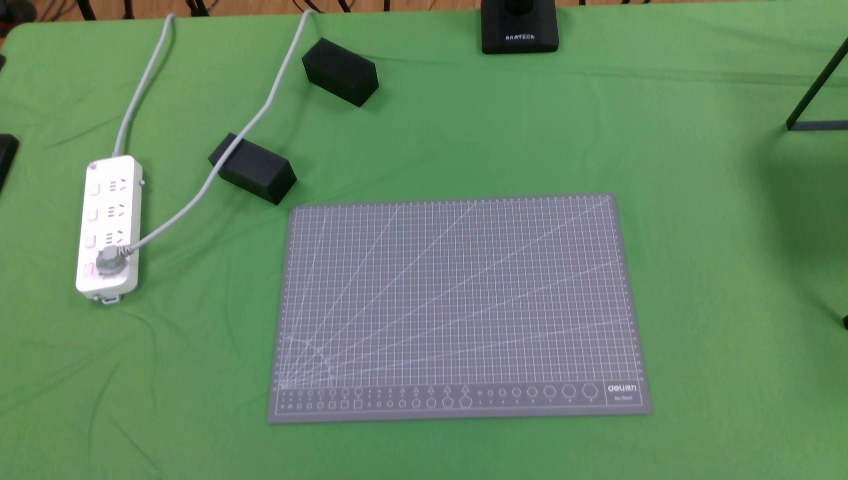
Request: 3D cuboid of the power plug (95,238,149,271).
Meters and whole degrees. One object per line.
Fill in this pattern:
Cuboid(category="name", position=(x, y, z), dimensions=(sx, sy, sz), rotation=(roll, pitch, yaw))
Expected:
Cuboid(category="power plug", position=(-0.388, 0.024, 0.786), dimensions=(0.072, 0.053, 0.035), rotation=(0, 63, 1))

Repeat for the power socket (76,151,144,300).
Cuboid(category="power socket", position=(-0.429, -0.027, 0.834), dimensions=(0.072, 0.033, 0.224), rotation=(-10, 63, -2))
